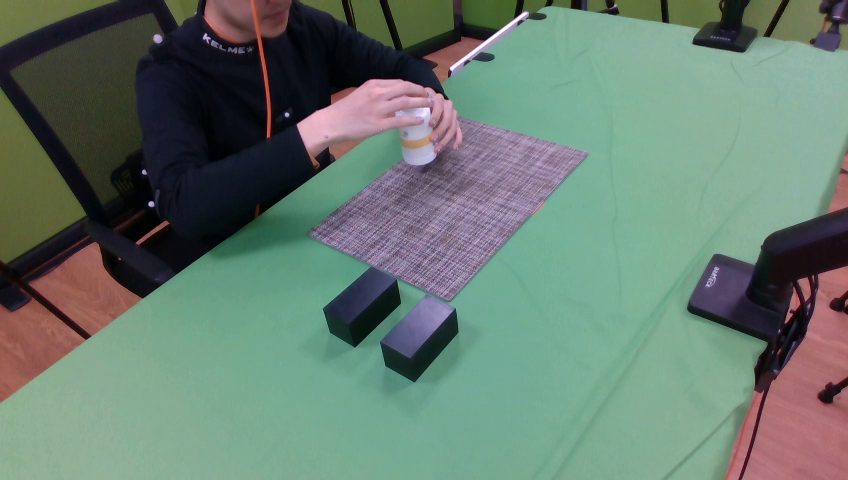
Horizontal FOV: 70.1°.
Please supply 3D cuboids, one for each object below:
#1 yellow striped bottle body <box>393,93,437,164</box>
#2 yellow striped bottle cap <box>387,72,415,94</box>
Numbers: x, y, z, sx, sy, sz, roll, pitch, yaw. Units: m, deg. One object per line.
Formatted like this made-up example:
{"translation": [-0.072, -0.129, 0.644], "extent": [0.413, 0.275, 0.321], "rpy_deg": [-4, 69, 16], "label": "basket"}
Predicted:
{"translation": [-0.017, -0.198, 1.060], "extent": [0.063, 0.121, 0.062], "rpy_deg": [-7, 44, 7], "label": "yellow striped bottle body"}
{"translation": [-0.037, -0.257, 0.990], "extent": [0.044, 0.019, 0.044], "rpy_deg": [-3, 45, 3], "label": "yellow striped bottle cap"}
